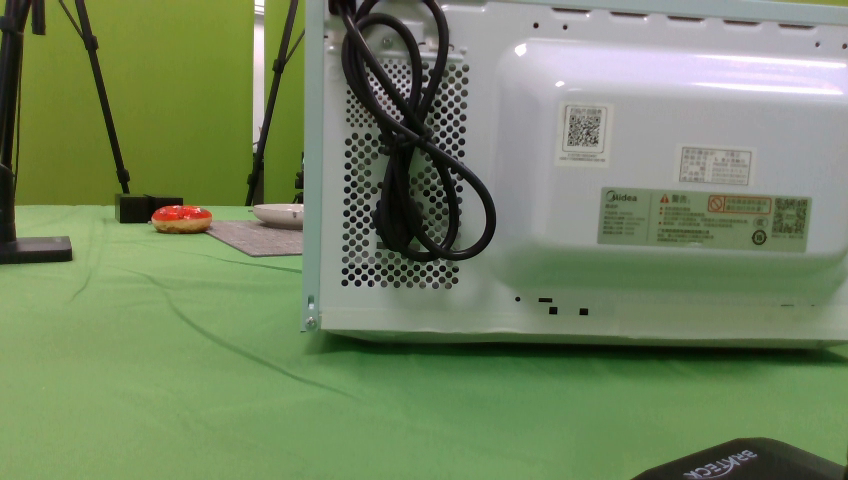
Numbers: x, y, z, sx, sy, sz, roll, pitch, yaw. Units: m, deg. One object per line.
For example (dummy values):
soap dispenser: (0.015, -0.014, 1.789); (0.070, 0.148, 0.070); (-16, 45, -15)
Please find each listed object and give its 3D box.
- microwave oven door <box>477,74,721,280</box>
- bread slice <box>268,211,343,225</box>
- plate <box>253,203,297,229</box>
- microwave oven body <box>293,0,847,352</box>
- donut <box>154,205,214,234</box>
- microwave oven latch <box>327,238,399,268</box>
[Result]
microwave oven door: (0.216, -0.092, 0.837); (0.039, 0.243, 0.354); (-4, 10, -40)
bread slice: (-0.244, -0.046, 1.220); (0.104, 0.019, 0.132); (7, 8, 36)
plate: (-0.238, -0.048, 1.226); (0.208, 0.039, 0.207); (3, 7, 0)
microwave oven body: (0.122, -0.055, 0.550); (0.442, 0.260, 0.325); (3, 7, -5)
donut: (-0.426, -0.037, 1.075); (0.099, 0.048, 0.099); (2, 12, 0)
microwave oven latch: (-0.069, 0.015, 0.694); (0.079, 0.029, 0.030); (3, 7, -2)
